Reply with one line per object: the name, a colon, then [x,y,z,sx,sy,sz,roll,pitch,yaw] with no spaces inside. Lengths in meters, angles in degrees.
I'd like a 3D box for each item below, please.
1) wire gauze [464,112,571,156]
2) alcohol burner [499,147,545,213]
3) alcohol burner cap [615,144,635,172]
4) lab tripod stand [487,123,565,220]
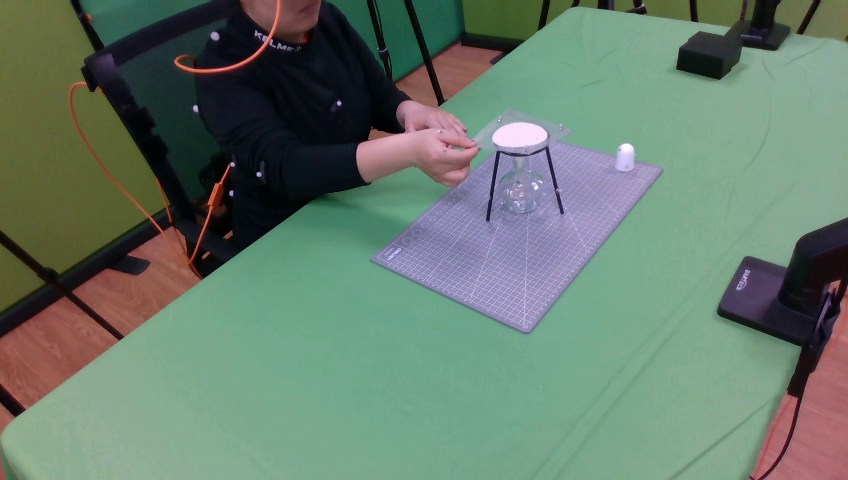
wire gauze: [0.148,-0.166,0.950,0.120,0.011,0.125,23,44,35]
alcohol burner: [0.161,-0.104,1.001,0.078,0.120,0.077,-6,42,6]
alcohol burner cap: [0.357,-0.147,1.069,0.034,0.048,0.033,-7,40,6]
lab tripod stand: [0.162,-0.110,0.992,0.148,0.132,0.147,-5,42,5]
